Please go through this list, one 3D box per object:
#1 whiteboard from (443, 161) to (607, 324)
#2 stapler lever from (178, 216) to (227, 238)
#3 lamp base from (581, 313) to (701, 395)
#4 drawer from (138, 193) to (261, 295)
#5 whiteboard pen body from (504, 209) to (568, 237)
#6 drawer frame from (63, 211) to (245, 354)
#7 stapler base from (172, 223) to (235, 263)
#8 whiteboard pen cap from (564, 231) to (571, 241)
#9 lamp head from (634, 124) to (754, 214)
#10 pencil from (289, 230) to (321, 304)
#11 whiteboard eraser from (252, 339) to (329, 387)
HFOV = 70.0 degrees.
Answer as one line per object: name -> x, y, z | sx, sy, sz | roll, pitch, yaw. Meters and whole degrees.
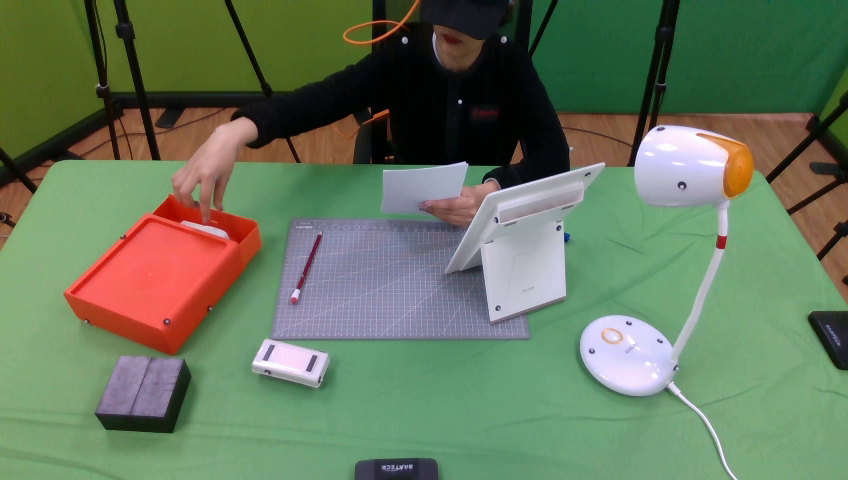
whiteboard -> 0.185, 0.026, 1.028 | 0.217, 0.306, 0.143 | -15, 68, -18
stapler lever -> -0.417, -0.016, 1.131 | 0.118, 0.040, 0.027 | 27, 47, 16
lamp base -> 0.361, 0.144, 0.973 | 0.178, 0.181, 0.160 | 34, 53, 23
drawer -> -0.437, 0.027, 1.098 | 0.194, 0.073, 0.211 | 18, 48, 12
whiteboard pen body -> 0.230, -0.034, 1.248 | 0.140, 0.017, 0.017 | 23, 49, 17
drawer frame -> -0.459, 0.067, 1.056 | 0.201, 0.083, 0.212 | 17, 48, 11
stapler base -> -0.418, 0.000, 1.147 | 0.130, 0.024, 0.041 | 25, 46, 18
whiteboard pen cap -> 0.281, -0.012, 1.230 | 0.033, 0.018, 0.018 | 25, 49, 16
lamp head -> 0.351, -0.089, 0.776 | 0.112, 0.113, 0.122 | -30, 30, -28
pencil -> -0.221, 0.045, 1.141 | 0.012, 0.012, 0.193 | 8, 44, 4
whiteboard eraser -> -0.215, 0.199, 0.976 | 0.112, 0.042, 0.055 | 12, 45, 7
